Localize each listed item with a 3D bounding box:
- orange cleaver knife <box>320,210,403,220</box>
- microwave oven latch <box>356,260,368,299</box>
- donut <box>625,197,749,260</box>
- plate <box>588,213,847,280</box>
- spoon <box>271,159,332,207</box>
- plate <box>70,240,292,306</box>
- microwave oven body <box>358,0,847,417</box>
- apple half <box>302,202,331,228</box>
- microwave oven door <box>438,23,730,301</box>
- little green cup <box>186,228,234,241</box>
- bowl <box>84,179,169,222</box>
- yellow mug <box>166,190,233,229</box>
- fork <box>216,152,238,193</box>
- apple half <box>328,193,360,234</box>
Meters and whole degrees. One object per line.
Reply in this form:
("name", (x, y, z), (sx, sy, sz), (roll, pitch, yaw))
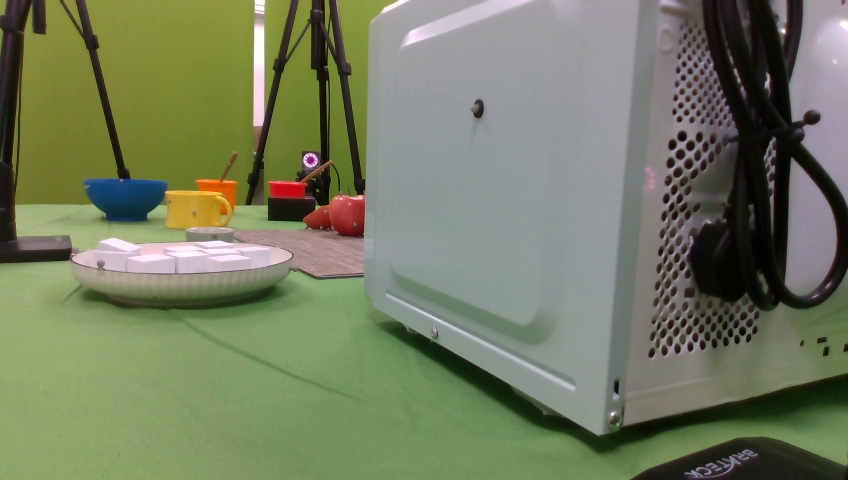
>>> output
("orange cleaver knife", (-0.141, -0.057, 1.394), (0.077, 0.012, 0.212), (1, 6, 44))
("microwave oven latch", (-0.020, 0.034, 0.524), (0.079, 0.029, 0.030), (1, 7, -17))
("donut", (0.223, -0.008, 0.519), (0.099, 0.048, 0.099), (12, 2, 0))
("plate", (0.245, 0.002, 0.512), (0.209, 0.038, 0.209), (1, 7, 0))
("spoon", (-0.307, -0.142, 1.513), (0.193, 0.021, 0.041), (-41, 4, 8))
("plate", (-0.241, 0.032, 0.617), (0.208, 0.039, 0.207), (2, 7, 0))
("microwave oven body", (0.211, -0.047, 0.474), (0.444, 0.260, 0.324), (-1, 8, -28))
("apple half", (-0.192, -0.043, 1.168), (0.081, 0.032, 0.081), (-23, -12, -5))
("microwave oven door", (0.181, -0.072, 0.620), (0.358, 0.243, 0.039), (-2, 8, -28))
("little green cup", (-0.284, 0.005, 0.804), (0.061, 0.038, 0.061), (2, 8, 0))
("bowl", (-0.584, -0.078, 1.193), (0.151, 0.077, 0.151), (3, 8, 0))
("yellow mug", (-0.414, -0.057, 1.131), (0.130, 0.064, 0.100), (6, 7, 16))
("fork", (-0.454, -0.131, 1.366), (0.028, 0.018, 0.207), (-5, -33, -39))
("apple half", (-0.132, -0.046, 1.086), (0.081, 0.074, 0.053), (4, 11, -13))
